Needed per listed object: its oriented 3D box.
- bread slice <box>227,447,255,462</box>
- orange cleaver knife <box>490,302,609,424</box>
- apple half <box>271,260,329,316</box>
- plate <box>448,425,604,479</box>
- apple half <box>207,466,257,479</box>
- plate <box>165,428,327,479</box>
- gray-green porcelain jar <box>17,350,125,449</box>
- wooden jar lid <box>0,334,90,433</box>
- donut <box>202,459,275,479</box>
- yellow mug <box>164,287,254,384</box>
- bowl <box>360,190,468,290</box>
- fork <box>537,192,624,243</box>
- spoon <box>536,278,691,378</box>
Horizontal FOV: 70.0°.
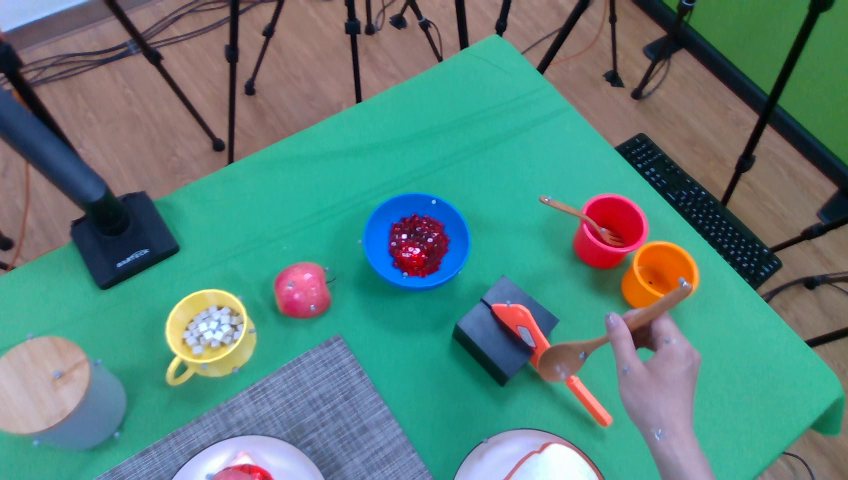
[{"bbox_3d":[-0.207,0.325,0.707,0.133,0.018,0.107,35,66,14],"label":"bread slice"},{"bbox_3d":[0.163,0.161,0.802,0.012,0.077,0.211,-41,94,-29],"label":"orange cleaver knife"},{"bbox_3d":[-0.174,0.062,0.841,0.075,0.054,0.080,-10,64,-7],"label":"apple half"},{"bbox_3d":[0.124,0.332,0.734,0.209,0.038,0.207,2,62,-4],"label":"plate"},{"bbox_3d":[-0.211,0.286,0.654,0.081,0.033,0.080,0,68,0],"label":"apple half"},{"bbox_3d":[-0.209,0.328,0.704,0.208,0.039,0.206,2,63,-4],"label":"plate"},{"bbox_3d":[-0.424,0.186,0.714,0.106,0.127,0.105,2,62,-4],"label":"gray-green porcelain jar"},{"bbox_3d":[-0.420,0.156,0.659,0.108,0.021,0.107,1,61,-2],"label":"wooden jar lid"},{"bbox_3d":[-0.213,0.300,0.686,0.099,0.048,0.098,2,63,-4],"label":"donut"},{"bbox_3d":[-0.288,0.131,0.788,0.099,0.064,0.130,30,65,11],"label":"yellow mug"},{"bbox_3d":[-0.015,0.012,0.866,0.151,0.077,0.150,2,63,-4],"label":"bowl"},{"bbox_3d":[0.228,-0.031,0.869,0.209,0.018,0.028,23,51,-41],"label":"fork"},{"bbox_3d":[0.186,0.092,0.610,0.041,0.194,0.021,45,41,-3],"label":"spoon"}]
